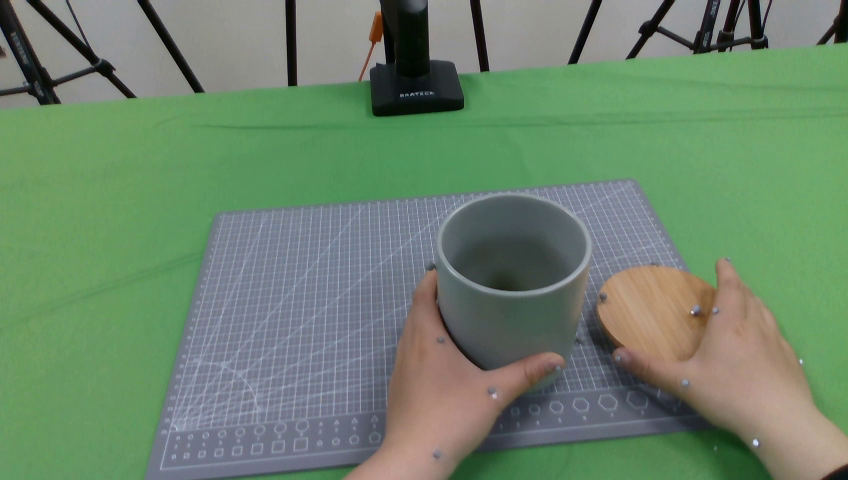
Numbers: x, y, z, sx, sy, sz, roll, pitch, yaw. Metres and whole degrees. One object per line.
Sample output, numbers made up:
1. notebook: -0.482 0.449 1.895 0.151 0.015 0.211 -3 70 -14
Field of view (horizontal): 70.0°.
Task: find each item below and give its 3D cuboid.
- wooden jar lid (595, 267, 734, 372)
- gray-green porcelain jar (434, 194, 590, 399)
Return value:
1. wooden jar lid: 0.196 0.066 0.501 0.108 0.021 0.107 -2 41 2
2. gray-green porcelain jar: 0.062 0.047 0.449 0.106 0.127 0.105 -2 42 2
